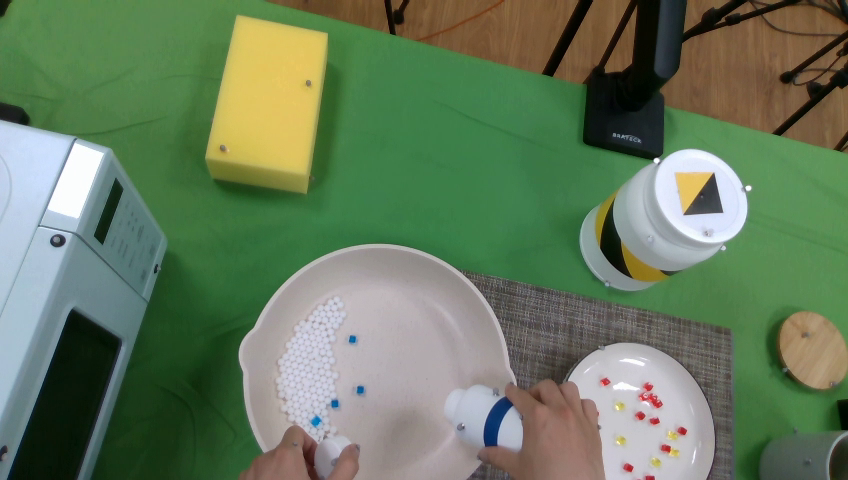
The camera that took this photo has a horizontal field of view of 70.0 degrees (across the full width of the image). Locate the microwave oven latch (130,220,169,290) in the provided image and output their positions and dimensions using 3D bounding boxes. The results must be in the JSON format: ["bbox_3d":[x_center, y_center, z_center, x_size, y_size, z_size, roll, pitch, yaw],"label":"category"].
[{"bbox_3d":[-0.313,0.014,0.681,0.030,0.029,0.078,15,71,-7],"label":"microwave oven latch"}]

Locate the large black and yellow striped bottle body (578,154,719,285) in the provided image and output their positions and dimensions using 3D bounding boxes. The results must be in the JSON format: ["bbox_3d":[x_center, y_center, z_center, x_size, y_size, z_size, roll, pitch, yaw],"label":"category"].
[{"bbox_3d":[0.289,-0.027,0.761,0.131,0.184,0.130,3,71,-10],"label":"large black and yellow striped bottle body"}]

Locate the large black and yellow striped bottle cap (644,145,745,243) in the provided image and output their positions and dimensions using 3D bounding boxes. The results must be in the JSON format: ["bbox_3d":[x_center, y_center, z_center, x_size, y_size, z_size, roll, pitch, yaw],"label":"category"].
[{"bbox_3d":[0.304,-0.053,0.681,0.115,0.019,0.114,4,71,-10],"label":"large black and yellow striped bottle cap"}]

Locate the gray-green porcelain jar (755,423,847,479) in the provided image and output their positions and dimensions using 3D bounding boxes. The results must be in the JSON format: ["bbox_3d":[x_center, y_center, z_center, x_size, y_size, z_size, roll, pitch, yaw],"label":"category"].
[{"bbox_3d":[0.481,0.278,0.735,0.106,0.127,0.105,4,72,-10],"label":"gray-green porcelain jar"}]

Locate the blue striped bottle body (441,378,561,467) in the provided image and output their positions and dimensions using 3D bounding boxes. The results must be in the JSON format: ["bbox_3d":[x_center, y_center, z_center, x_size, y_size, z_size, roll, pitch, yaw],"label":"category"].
[{"bbox_3d":[0.076,0.184,0.633,0.120,0.064,0.063,12,62,38],"label":"blue striped bottle body"}]

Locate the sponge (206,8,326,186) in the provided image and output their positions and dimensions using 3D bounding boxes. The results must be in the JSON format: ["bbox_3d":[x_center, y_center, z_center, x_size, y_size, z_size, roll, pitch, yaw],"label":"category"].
[{"bbox_3d":[-0.197,-0.182,0.774,0.118,0.061,0.205,7,72,-9],"label":"sponge"}]

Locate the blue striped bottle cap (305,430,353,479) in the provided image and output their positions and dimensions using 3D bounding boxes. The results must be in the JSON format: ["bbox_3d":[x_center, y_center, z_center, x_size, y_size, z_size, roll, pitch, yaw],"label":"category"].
[{"bbox_3d":[-0.091,0.203,0.576,0.044,0.021,0.044,-8,69,21],"label":"blue striped bottle cap"}]

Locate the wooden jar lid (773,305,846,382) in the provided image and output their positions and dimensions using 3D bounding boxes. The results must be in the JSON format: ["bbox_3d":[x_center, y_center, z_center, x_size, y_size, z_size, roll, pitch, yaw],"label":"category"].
[{"bbox_3d":[0.534,0.144,0.845,0.109,0.021,0.108,3,73,-10],"label":"wooden jar lid"}]

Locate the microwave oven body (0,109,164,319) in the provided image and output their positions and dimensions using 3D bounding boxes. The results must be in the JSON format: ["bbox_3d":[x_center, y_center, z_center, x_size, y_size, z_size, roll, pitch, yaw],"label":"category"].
[{"bbox_3d":[-0.469,0.116,0.513,0.327,0.261,0.439,13,71,-8],"label":"microwave oven body"}]

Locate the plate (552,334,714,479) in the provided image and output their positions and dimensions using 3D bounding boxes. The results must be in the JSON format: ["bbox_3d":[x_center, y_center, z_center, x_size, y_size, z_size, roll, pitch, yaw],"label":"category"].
[{"bbox_3d":[0.254,0.222,0.749,0.210,0.038,0.208,3,72,-10],"label":"plate"}]

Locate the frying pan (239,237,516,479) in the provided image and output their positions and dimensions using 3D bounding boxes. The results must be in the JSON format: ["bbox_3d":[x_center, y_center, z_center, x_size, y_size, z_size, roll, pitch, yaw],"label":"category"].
[{"bbox_3d":[-0.065,0.234,0.645,0.307,0.103,0.484,11,63,-5],"label":"frying pan"}]

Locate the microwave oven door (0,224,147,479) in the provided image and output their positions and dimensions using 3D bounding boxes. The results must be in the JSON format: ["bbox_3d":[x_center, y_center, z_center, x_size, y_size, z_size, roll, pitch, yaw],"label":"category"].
[{"bbox_3d":[-0.334,0.186,0.513,0.039,0.244,0.353,13,70,-7],"label":"microwave oven door"}]
